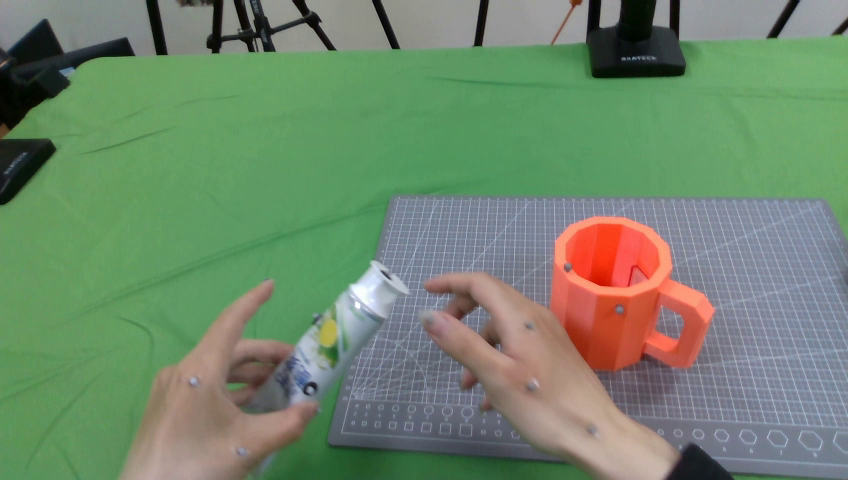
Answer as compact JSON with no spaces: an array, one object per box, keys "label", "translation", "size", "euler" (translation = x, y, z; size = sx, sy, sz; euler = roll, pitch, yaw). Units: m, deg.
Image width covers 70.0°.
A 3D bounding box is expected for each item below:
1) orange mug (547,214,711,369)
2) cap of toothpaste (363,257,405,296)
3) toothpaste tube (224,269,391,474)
[{"label":"orange mug","translation":[0.158,0.048,0.483],"size":[0.125,0.102,0.083],"euler":[24,52,33]},{"label":"cap of toothpaste","translation":[-0.029,0.026,0.420],"size":[0.011,0.038,0.037],"euler":[-49,51,4]},{"label":"toothpaste tube","translation":[-0.081,0.084,0.427],"size":[0.165,0.035,0.054],"euler":[-49,47,4]}]
